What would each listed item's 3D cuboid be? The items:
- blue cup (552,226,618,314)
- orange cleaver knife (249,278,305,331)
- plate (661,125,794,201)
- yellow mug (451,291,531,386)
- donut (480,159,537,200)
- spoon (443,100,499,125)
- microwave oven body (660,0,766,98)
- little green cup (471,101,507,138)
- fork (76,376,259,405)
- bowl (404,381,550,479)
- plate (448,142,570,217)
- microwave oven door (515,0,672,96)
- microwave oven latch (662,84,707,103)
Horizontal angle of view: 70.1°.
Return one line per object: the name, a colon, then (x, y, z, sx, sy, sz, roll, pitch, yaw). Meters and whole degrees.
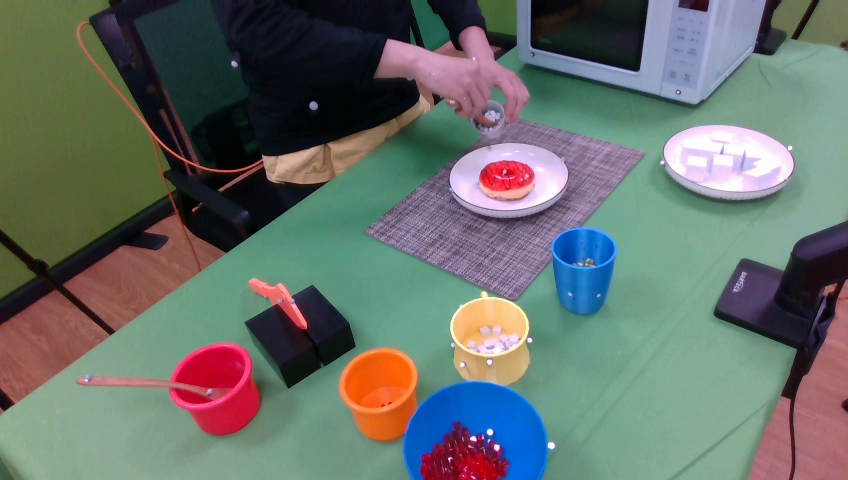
blue cup: (0.218, 0.047, 0.826, 0.092, 0.100, 0.092, -6, 40, 5)
orange cleaver knife: (-0.210, 0.088, 0.856, 0.012, 0.077, 0.210, -28, 15, -25)
plate: (0.513, -0.128, 1.035, 0.207, 0.039, 0.206, -4, 40, 4)
yellow mug: (0.085, 0.120, 0.786, 0.100, 0.064, 0.130, -7, 39, 1)
donut: (0.146, -0.106, 1.042, 0.099, 0.048, 0.098, -5, 38, 4)
spoon: (0.077, -0.213, 1.001, 0.041, 0.021, 0.195, 28, 12, 25)
microwave oven body: (0.473, -0.513, 1.317, 0.438, 0.261, 0.327, 26, 51, 34)
little green cup: (0.118, -0.212, 1.076, 0.061, 0.039, 0.061, -6, 75, 22)
fork: (-0.295, 0.176, 0.716, 0.209, 0.018, 0.028, 19, 26, -36)
bowl: (0.058, 0.235, 0.645, 0.151, 0.077, 0.150, -4, 39, 4)
plate: (0.148, -0.101, 1.053, 0.209, 0.038, 0.208, -4, 40, 4)
microwave oven door: (0.344, -0.455, 1.260, 0.353, 0.245, 0.039, 26, 51, 33)
microwave oven latch: (0.517, -0.296, 1.204, 0.078, 0.029, 0.030, 26, 52, 34)
